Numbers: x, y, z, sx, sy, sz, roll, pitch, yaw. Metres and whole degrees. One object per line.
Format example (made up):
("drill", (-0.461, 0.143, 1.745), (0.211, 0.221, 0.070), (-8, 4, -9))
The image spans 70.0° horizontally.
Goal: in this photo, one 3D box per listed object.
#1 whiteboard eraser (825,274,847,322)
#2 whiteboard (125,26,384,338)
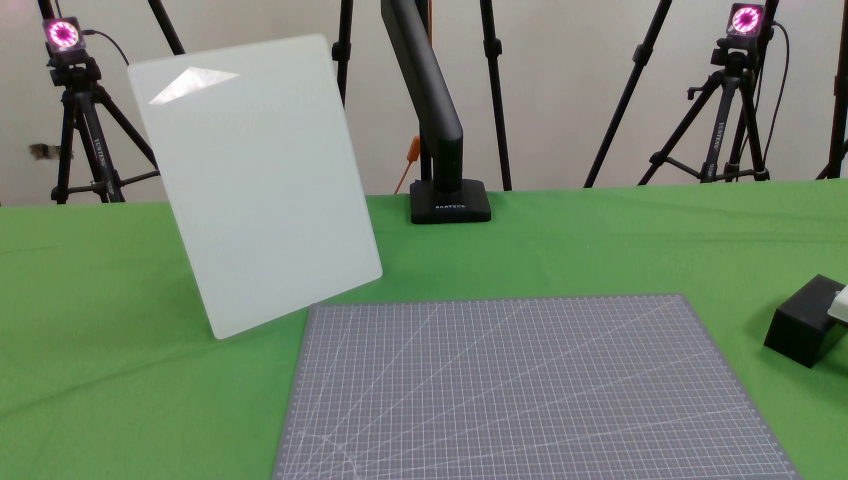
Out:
("whiteboard eraser", (0.456, 0.073, 0.582), (0.055, 0.042, 0.111), (-27, 38, -32))
("whiteboard", (-0.206, -0.077, 0.737), (0.218, 0.307, 0.143), (-21, 18, -28))
